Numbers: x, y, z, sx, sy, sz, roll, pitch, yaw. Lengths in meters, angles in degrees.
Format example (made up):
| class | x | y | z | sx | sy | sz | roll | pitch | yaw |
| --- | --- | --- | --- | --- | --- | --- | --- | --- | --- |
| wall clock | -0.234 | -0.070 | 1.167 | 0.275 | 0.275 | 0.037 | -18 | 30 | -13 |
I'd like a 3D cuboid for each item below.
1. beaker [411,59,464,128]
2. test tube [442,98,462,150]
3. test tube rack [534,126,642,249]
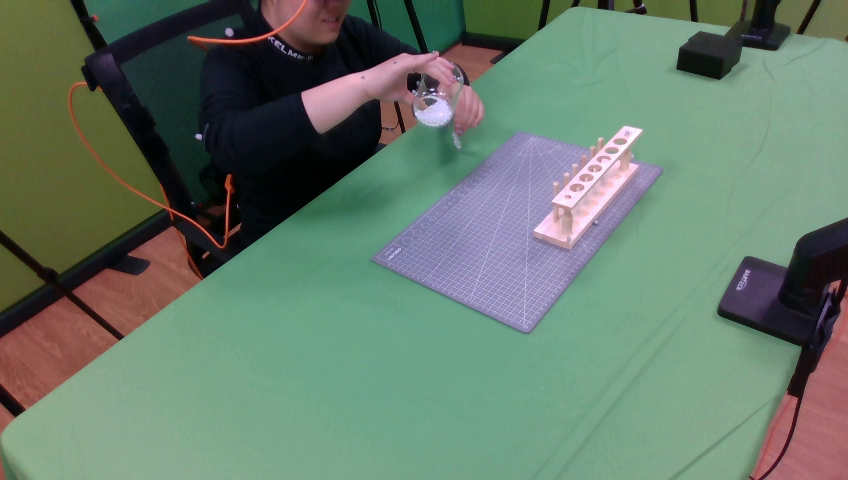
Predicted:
| class | x | y | z | sx | sy | sz | roll | pitch | yaw |
| --- | --- | --- | --- | --- | --- | --- | --- | --- | --- |
| beaker | 0.022 | -0.236 | 0.991 | 0.074 | 0.084 | 0.100 | 1 | 45 | 16 |
| test tube | 0.053 | -0.210 | 1.115 | 0.017 | 0.151 | 0.017 | -5 | 65 | 11 |
| test tube rack | 0.271 | -0.095 | 0.990 | 0.066 | 0.085 | 0.243 | 23 | 49 | 33 |
